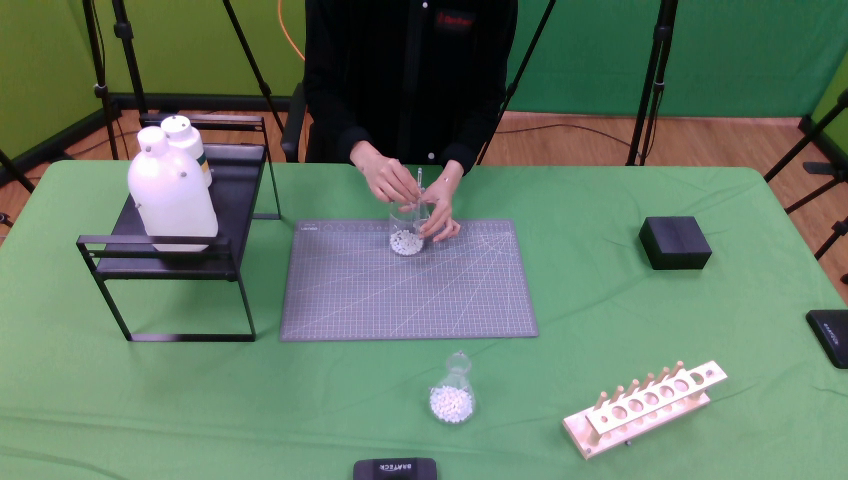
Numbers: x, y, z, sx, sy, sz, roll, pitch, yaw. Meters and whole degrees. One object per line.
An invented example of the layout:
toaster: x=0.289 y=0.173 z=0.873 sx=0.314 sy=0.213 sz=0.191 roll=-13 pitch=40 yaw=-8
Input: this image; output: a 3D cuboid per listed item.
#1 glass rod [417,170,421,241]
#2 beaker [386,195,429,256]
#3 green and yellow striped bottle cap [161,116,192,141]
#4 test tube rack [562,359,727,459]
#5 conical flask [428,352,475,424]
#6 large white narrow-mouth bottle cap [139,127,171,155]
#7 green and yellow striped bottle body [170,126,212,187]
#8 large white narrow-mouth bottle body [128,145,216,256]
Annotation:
glass rod: x=-0.009 y=-0.059 z=1.117 sx=0.008 sy=0.201 sz=0.008 roll=1 pitch=53 yaw=-1
beaker: x=-0.031 y=-0.024 z=1.161 sx=0.084 sy=0.101 sz=0.073 roll=19 pitch=48 yaw=13
green and yellow striped bottle cap: x=-0.387 y=-0.174 z=0.946 sx=0.045 sy=0.020 sz=0.045 roll=3 pitch=44 yaw=-3
test tube rack: x=0.341 y=0.247 z=0.940 sx=0.243 sy=0.085 sz=0.066 roll=-16 pitch=49 yaw=-18
conical flask: x=0.046 y=0.220 z=0.920 sx=0.075 sy=0.122 sz=0.075 roll=2 pitch=46 yaw=-2
large white narrow-mouth bottle cap: x=-0.358 y=-0.132 z=0.807 sx=0.038 sy=0.024 sz=0.037 roll=3 pitch=47 yaw=-3
green and yellow striped bottle body: x=-0.389 y=-0.139 z=0.984 sx=0.063 sy=0.120 sz=0.063 roll=2 pitch=46 yaw=-2
large white narrow-mouth bottle body: x=-0.366 y=-0.073 z=0.872 sx=0.102 sy=0.195 sz=0.101 roll=3 pitch=47 yaw=-3
